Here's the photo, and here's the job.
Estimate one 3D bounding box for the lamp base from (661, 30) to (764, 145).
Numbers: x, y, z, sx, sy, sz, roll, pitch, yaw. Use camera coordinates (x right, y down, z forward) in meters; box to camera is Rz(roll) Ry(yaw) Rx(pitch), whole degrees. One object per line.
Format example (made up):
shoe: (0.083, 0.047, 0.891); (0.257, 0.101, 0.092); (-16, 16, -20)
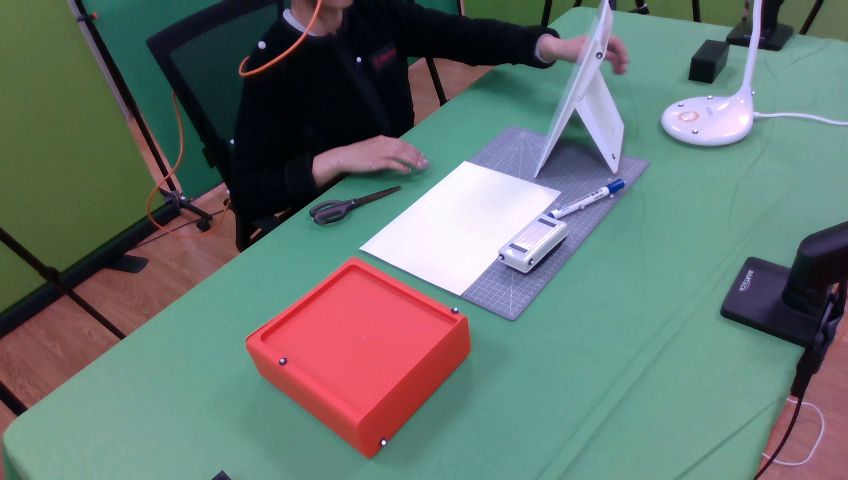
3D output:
lamp base: (0.535, -0.287, 1.095); (0.179, 0.181, 0.159); (-10, 40, -4)

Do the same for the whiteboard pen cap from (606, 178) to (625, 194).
whiteboard pen cap: (0.320, -0.090, 1.016); (0.033, 0.018, 0.018); (-27, 43, -14)

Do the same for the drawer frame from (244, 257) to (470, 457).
drawer frame: (-0.084, 0.138, 0.788); (0.212, 0.083, 0.202); (25, 50, 33)

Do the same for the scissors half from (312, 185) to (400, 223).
scissors half: (-0.119, -0.066, 1.088); (0.176, 0.013, 0.040); (-25, 37, -24)

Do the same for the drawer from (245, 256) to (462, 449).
drawer: (-0.089, 0.136, 0.792); (0.210, 0.073, 0.195); (26, 51, 34)

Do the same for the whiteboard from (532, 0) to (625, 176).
whiteboard: (0.320, -0.259, 1.050); (0.144, 0.306, 0.217); (21, 45, 5)

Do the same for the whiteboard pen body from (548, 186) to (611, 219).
whiteboard pen body: (0.267, -0.066, 1.004); (0.141, 0.017, 0.017); (-25, 43, -13)

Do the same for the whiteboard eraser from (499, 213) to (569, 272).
whiteboard eraser: (0.168, 0.006, 0.923); (0.055, 0.042, 0.113); (29, 53, 34)

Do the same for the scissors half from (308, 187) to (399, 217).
scissors half: (-0.126, -0.075, 1.104); (0.176, 0.013, 0.039); (-16, 29, -10)
